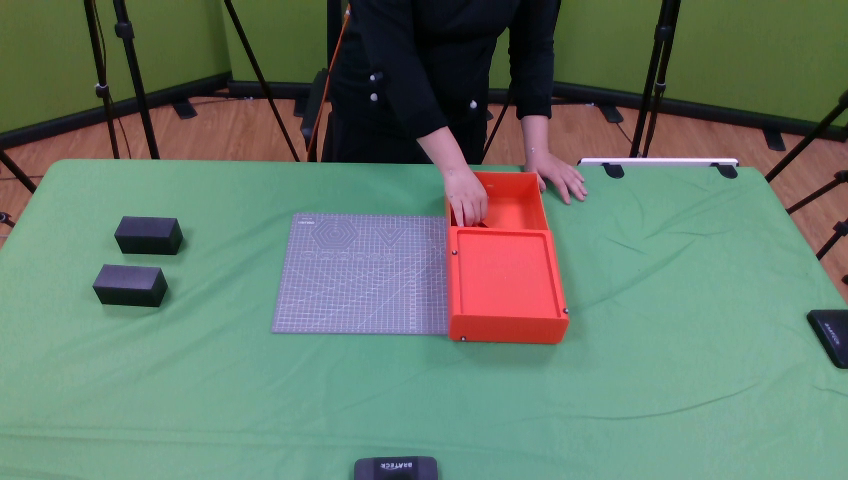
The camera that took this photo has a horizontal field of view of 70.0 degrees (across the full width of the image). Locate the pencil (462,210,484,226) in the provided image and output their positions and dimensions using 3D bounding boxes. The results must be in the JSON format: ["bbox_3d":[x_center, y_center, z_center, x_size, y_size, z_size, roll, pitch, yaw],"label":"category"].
[{"bbox_3d":[0.134,-0.016,1.224,0.012,0.012,0.193,-27,48,-27],"label":"pencil"}]

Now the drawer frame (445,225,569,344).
[{"bbox_3d":[0.141,0.076,1.089,0.202,0.083,0.212,2,46,-3],"label":"drawer frame"}]

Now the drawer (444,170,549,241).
[{"bbox_3d":[0.141,-0.049,1.217,0.194,0.073,0.210,2,43,-3],"label":"drawer"}]
